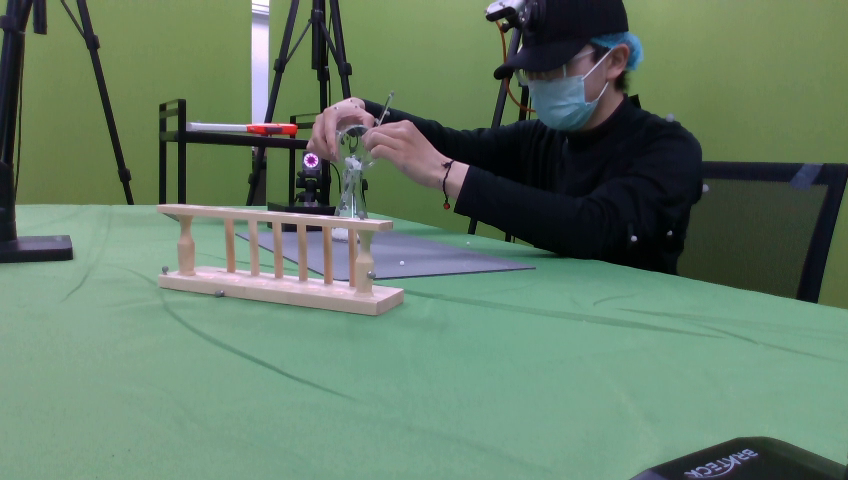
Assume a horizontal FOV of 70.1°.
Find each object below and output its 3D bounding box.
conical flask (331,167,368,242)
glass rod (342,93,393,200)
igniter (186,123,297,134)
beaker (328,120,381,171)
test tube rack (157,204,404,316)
[{"bbox_3d":[-0.123,-0.061,1.019,0.075,0.122,0.075,3,8,0],"label":"conical flask"},{"bbox_3d":[-0.094,-0.151,0.995,0.008,0.199,0.008,24,21,-10],"label":"glass rod"},{"bbox_3d":[-0.392,-0.248,1.341,0.057,0.025,0.278,9,14,38],"label":"igniter"},{"bbox_3d":[-0.125,-0.167,1.049,0.074,0.084,0.100,13,11,-23],"label":"beaker"},{"bbox_3d":[-0.143,0.013,0.599,0.242,0.085,0.067,5,8,19],"label":"test tube rack"}]
